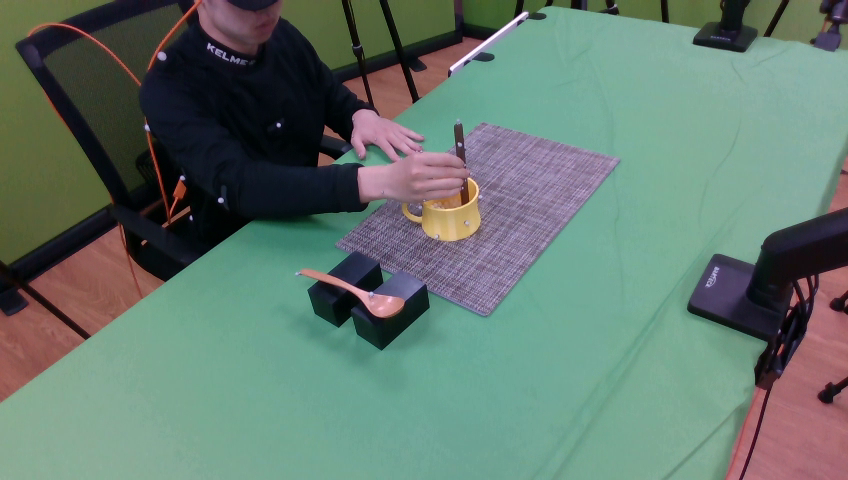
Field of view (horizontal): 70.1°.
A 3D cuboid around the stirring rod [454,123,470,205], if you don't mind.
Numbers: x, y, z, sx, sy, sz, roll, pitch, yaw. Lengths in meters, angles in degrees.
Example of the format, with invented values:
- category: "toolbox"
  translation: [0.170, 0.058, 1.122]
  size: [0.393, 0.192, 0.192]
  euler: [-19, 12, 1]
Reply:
- category: "stirring rod"
  translation: [0.061, -0.104, 0.945]
  size: [0.014, 0.177, 0.005]
  euler: [-22, 39, -15]

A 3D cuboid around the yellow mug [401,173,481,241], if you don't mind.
- category: "yellow mug"
  translation: [0.026, -0.054, 0.989]
  size: [0.130, 0.064, 0.099]
  euler: [-1, 41, 8]

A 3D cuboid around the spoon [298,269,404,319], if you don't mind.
- category: "spoon"
  translation: [-0.106, 0.068, 0.831]
  size: [0.192, 0.022, 0.042]
  euler: [21, 48, 32]
